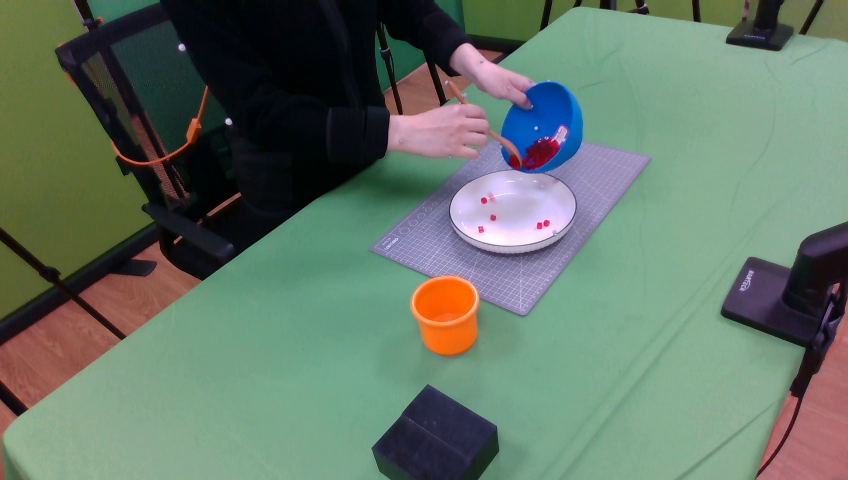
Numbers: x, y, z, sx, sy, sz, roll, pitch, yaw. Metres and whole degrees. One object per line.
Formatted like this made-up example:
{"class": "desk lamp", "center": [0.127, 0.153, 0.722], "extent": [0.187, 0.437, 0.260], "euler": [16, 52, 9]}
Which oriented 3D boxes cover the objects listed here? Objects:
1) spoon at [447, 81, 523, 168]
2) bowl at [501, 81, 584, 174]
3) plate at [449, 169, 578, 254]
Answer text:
{"class": "spoon", "center": [0.096, -0.175, 0.927], "extent": [0.021, 0.195, 0.041], "euler": [-46, 35, 11]}
{"class": "bowl", "center": [0.206, -0.173, 0.984], "extent": [0.077, 0.151, 0.150], "euler": [15, 24, -38]}
{"class": "plate", "center": [0.147, -0.044, 0.994], "extent": [0.209, 0.038, 0.208], "euler": [-5, 40, 5]}
